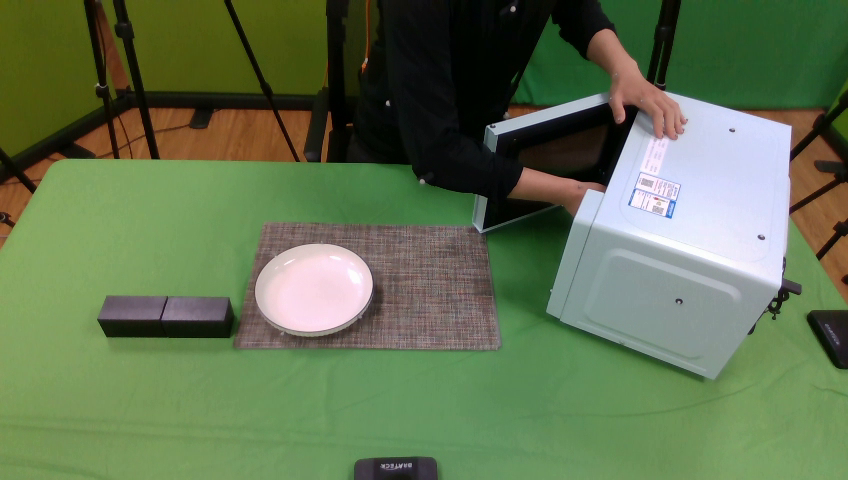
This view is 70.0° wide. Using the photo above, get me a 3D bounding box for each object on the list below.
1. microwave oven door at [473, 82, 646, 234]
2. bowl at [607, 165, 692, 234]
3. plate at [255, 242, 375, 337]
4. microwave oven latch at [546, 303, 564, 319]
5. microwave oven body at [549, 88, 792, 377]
[{"bbox_3d":[0.266,-0.163,1.196,0.356,0.245,0.039,-20,49,-21],"label":"microwave oven door"},{"bbox_3d":[0.420,-0.064,1.150,0.151,0.077,0.150,-4,50,5],"label":"bowl"},{"bbox_3d":[-0.192,0.090,1.079,0.208,0.039,0.206,2,46,-2],"label":"plate"},{"bbox_3d":[0.242,0.102,1.081,0.030,0.029,0.079,22,48,17],"label":"microwave oven latch"},{"bbox_3d":[0.456,-0.028,1.088,0.325,0.261,0.440,20,47,16],"label":"microwave oven body"}]
